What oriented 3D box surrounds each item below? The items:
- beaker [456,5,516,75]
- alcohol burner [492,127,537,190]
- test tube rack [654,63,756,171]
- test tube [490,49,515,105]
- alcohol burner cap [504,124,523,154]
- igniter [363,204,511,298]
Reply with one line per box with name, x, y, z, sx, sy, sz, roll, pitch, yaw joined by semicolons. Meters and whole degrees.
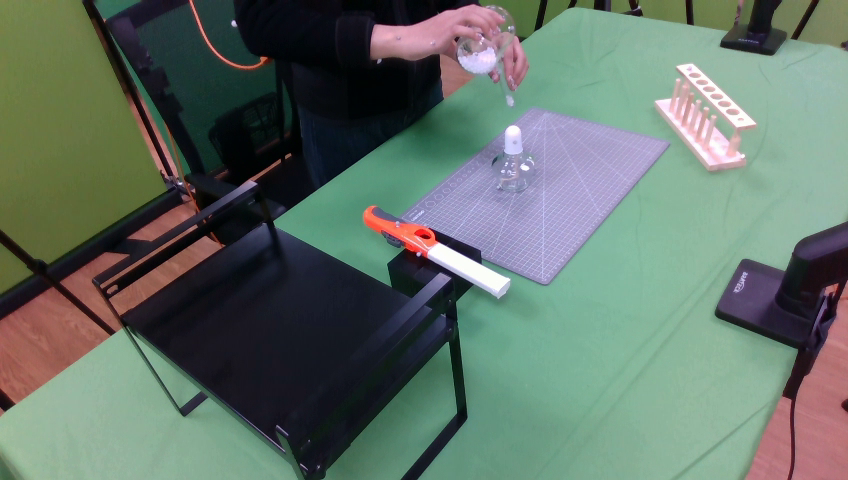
beaker;0.097;-0.313;0.958;0.073;0.084;0.100;11;46;20
alcohol burner;0.156;-0.146;1.046;0.078;0.119;0.077;-4;43;4
test tube rack;0.511;-0.233;1.120;0.067;0.085;0.241;-8;41;-1
test tube;0.142;-0.287;1.079;0.017;0.151;0.017;-8;65;17
alcohol burner cap;0.151;-0.173;1.022;0.034;0.048;0.033;-4;36;3
igniter;0.007;0.009;0.887;0.274;0.025;0.057;29;50;32
